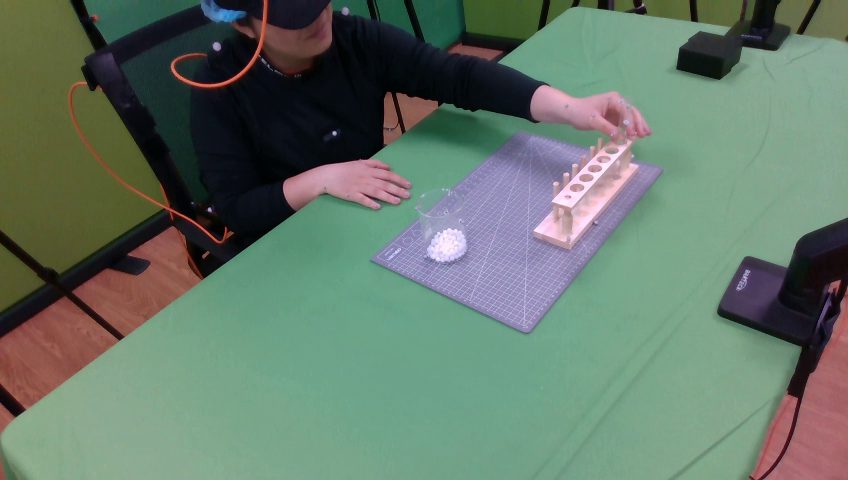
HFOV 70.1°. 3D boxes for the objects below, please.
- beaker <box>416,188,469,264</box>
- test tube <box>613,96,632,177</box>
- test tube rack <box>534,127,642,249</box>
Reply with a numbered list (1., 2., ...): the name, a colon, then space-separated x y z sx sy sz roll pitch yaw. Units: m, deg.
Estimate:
1. beaker: 0.032 -0.021 0.937 0.073 0.101 0.084 8 42 20
2. test tube: 0.323 -0.165 0.986 0.017 0.151 0.017 -5 43 5
3. test tube rack: 0.271 -0.094 0.989 0.066 0.085 0.243 23 50 33
